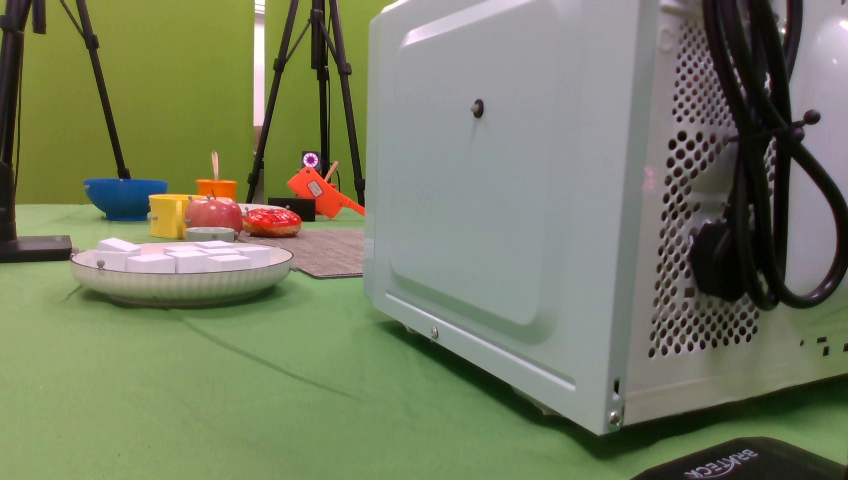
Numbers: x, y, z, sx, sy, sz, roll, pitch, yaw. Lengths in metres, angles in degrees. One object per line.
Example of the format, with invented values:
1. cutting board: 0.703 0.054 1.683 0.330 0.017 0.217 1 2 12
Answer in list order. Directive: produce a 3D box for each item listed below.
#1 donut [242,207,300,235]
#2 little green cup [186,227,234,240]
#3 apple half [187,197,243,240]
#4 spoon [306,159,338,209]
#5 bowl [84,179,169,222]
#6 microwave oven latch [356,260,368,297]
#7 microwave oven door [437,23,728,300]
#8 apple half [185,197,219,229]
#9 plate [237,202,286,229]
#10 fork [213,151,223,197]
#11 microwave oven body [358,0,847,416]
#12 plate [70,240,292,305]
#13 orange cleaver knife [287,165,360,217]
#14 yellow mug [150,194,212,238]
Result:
1. donut: -0.263 -0.032 1.039 0.099 0.048 0.099 4 9 0
2. little green cup: -0.285 0.005 0.805 0.061 0.038 0.061 2 8 0
3. apple half: -0.305 -0.026 0.907 0.053 0.074 0.081 12 8 31
4. spoon: -0.257 -0.147 1.567 0.041 0.022 0.193 1 50 20
5. bowl: -0.584 -0.078 1.194 0.151 0.077 0.151 3 8 0
6. microwave oven latch: -0.019 0.033 0.531 0.079 0.029 0.030 -1 7 -27
7. microwave oven door: 0.180 -0.072 0.621 0.358 0.243 0.039 -2 8 -29
8. apple half: -0.338 -0.031 0.927 0.032 0.081 0.081 12 12 31
9. plate: -0.376 -0.048 1.183 0.209 0.038 0.209 3 8 0
10. fork: -0.494 -0.143 1.442 0.028 0.018 0.206 -2 52 -20
11. microwave oven body: 0.211 -0.047 0.475 0.444 0.260 0.324 -1 8 -28
12. plate: -0.242 0.031 0.618 0.208 0.039 0.207 2 8 0
13. orange cleaver knife: -0.210 -0.093 1.382 0.212 0.077 0.012 33 1 -15
14. yellow mug: -0.401 -0.039 1.003 0.100 0.064 0.130 0 9 -20
